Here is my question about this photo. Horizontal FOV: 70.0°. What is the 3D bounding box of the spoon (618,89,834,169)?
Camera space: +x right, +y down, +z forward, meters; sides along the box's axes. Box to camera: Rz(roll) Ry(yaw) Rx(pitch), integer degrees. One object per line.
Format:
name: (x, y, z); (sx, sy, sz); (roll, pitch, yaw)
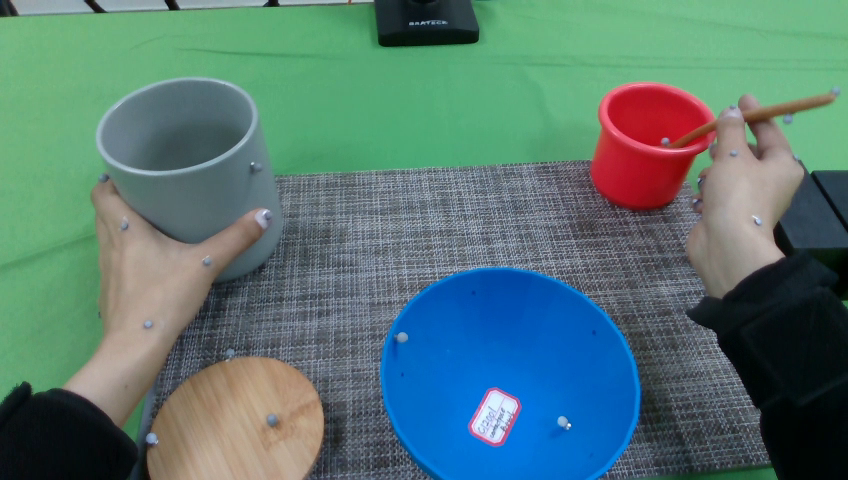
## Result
spoon: (0.230, -0.087, 0.489); (0.041, 0.193, 0.021); (-28, 92, -24)

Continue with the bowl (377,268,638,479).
bowl: (0.047, 0.100, 0.378); (0.151, 0.077, 0.150); (1, 49, -1)

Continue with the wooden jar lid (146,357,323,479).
wooden jar lid: (-0.118, 0.127, 0.387); (0.108, 0.021, 0.107); (1, 49, 0)

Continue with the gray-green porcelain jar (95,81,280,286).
gray-green porcelain jar: (-0.168, -0.036, 0.455); (0.106, 0.127, 0.105); (1, 49, -1)
